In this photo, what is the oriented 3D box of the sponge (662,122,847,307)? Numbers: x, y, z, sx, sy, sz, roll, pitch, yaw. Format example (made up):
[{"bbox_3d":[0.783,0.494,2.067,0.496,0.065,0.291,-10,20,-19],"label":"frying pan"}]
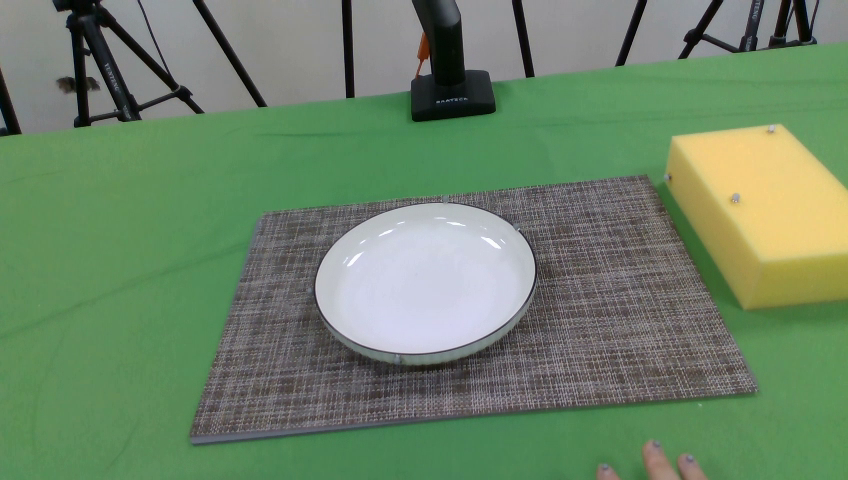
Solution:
[{"bbox_3d":[0.328,-0.034,0.587,0.118,0.061,0.204,-7,39,1],"label":"sponge"}]

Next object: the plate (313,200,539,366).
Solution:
[{"bbox_3d":[0.003,0.039,0.569,0.207,0.039,0.205,-5,40,4],"label":"plate"}]
